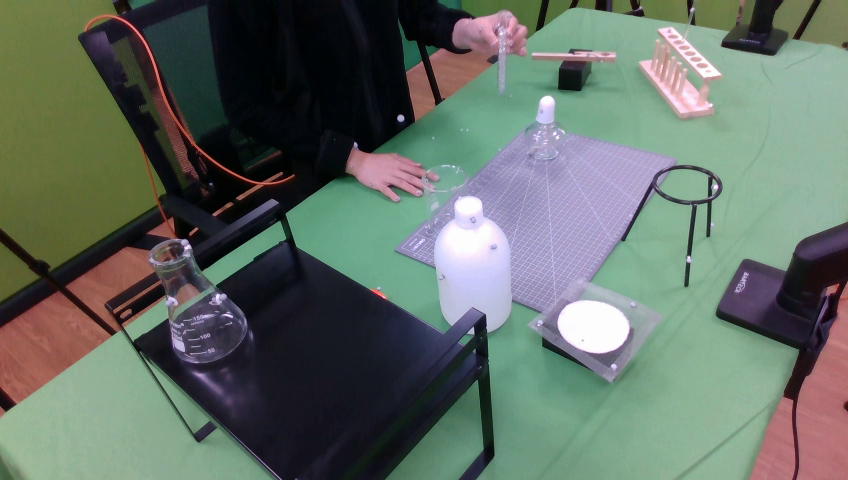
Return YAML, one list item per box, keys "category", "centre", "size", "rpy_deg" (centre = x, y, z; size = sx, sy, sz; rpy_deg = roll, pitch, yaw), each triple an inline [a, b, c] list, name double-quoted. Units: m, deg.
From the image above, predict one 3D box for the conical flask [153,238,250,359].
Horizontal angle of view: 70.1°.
- category: "conical flask"
  centre: [-0.225, 0.055, 0.597]
  size: [0.075, 0.122, 0.075]
  rpy_deg: [-5, 41, 4]

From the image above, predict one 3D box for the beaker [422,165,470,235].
- category: "beaker"
  centre: [0.041, -0.063, 0.986]
  size: [0.073, 0.101, 0.084]
  rpy_deg: [20, 47, 29]

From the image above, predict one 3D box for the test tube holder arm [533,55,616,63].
- category: "test tube holder arm"
  centre: [0.329, -0.398, 1.327]
  size: [0.178, 0.015, 0.013]
  rpy_deg: [5, 51, 15]

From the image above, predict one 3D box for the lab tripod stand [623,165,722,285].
- category: "lab tripod stand"
  centre: [0.365, -0.030, 0.875]
  size: [0.148, 0.132, 0.147]
  rpy_deg: [-6, 41, 6]

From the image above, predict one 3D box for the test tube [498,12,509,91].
- category: "test tube"
  centre: [0.135, -0.317, 1.029]
  size: [0.017, 0.151, 0.017]
  rpy_deg: [-3, 51, 4]

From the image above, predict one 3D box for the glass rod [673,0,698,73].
- category: "glass rod"
  centre: [0.537, -0.425, 1.244]
  size: [0.008, 0.200, 0.008]
  rpy_deg: [0, 47, 0]

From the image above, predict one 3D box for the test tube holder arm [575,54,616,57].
- category: "test tube holder arm"
  centre: [0.373, -0.398, 1.318]
  size: [0.087, 0.015, 0.010]
  rpy_deg: [5, 51, 16]

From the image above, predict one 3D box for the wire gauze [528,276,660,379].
- category: "wire gauze"
  centre: [0.214, 0.103, 0.763]
  size: [0.124, 0.011, 0.122]
  rpy_deg: [30, 52, 35]

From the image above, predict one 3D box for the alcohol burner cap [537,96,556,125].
- category: "alcohol burner cap"
  centre: [0.223, -0.237, 1.095]
  size: [0.034, 0.048, 0.033]
  rpy_deg: [0, 42, 1]

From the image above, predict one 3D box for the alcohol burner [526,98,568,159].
- category: "alcohol burner"
  centre: [0.228, -0.210, 1.118]
  size: [0.078, 0.119, 0.077]
  rpy_deg: [-5, 43, 5]

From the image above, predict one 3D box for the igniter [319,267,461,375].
- category: "igniter"
  centre: [-0.060, 0.108, 0.862]
  size: [0.274, 0.025, 0.057]
  rpy_deg: [29, 62, 34]

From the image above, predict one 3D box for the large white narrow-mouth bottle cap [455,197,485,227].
- category: "large white narrow-mouth bottle cap"
  centre: [0.057, -0.036, 0.750]
  size: [0.038, 0.024, 0.037]
  rpy_deg: [-4, 40, 4]

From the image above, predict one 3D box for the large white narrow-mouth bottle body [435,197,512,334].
- category: "large white narrow-mouth bottle body"
  centre: [0.066, 0.028, 0.805]
  size: [0.102, 0.195, 0.101]
  rpy_deg: [-4, 40, 4]

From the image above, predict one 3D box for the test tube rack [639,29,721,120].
- category: "test tube rack"
  centre: [0.527, -0.351, 1.262]
  size: [0.067, 0.085, 0.241]
  rpy_deg: [-8, 40, 1]
